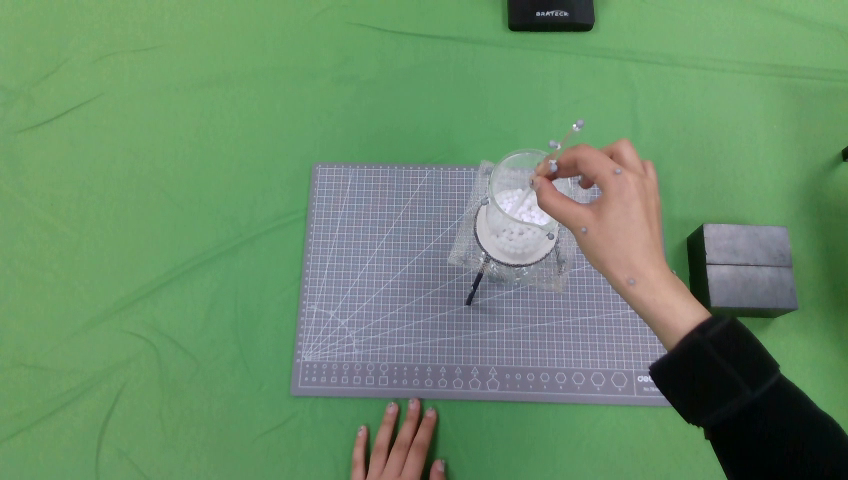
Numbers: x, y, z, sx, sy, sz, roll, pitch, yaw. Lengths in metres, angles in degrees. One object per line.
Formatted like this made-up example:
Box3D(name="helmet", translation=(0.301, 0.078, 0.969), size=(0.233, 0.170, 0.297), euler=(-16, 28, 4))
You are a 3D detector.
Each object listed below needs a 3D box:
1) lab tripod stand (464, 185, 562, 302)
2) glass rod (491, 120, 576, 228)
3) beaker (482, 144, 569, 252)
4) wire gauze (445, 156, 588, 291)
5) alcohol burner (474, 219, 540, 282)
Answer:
Box3D(name="lab tripod stand", translation=(0.093, 0.000, 0.690), size=(0.148, 0.132, 0.147), euler=(-1, 72, 2))
Box3D(name="glass rod", translation=(0.088, -0.049, 0.525), size=(0.008, 0.200, 0.008), euler=(4, 69, -10))
Box3D(name="beaker", translation=(0.094, -0.032, 0.580), size=(0.074, 0.101, 0.083), euler=(-25, 73, -7))
Box3D(name="wire gauze", translation=(0.098, -0.019, 0.626), size=(0.121, 0.011, 0.124), euler=(18, 71, 5))
Box3D(name="alcohol burner", translation=(0.097, 0.008, 0.698), size=(0.078, 0.120, 0.077), euler=(-1, 73, 2))
